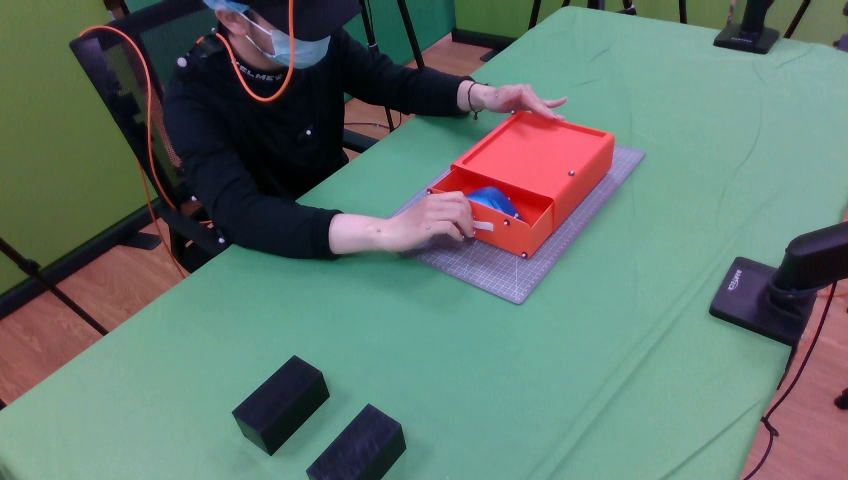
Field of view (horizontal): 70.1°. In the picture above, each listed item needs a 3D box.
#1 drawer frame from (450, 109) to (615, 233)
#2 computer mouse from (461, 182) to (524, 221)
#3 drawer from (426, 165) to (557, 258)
[{"bbox_3d":[0.186,-0.126,1.037,0.200,0.083,0.214,22,48,31],"label":"drawer frame"},{"bbox_3d":[0.112,-0.054,0.980,0.063,0.041,0.116,-16,50,-24],"label":"computer mouse"},{"bbox_3d":[0.144,-0.084,0.998,0.193,0.073,0.212,23,48,31],"label":"drawer"}]
